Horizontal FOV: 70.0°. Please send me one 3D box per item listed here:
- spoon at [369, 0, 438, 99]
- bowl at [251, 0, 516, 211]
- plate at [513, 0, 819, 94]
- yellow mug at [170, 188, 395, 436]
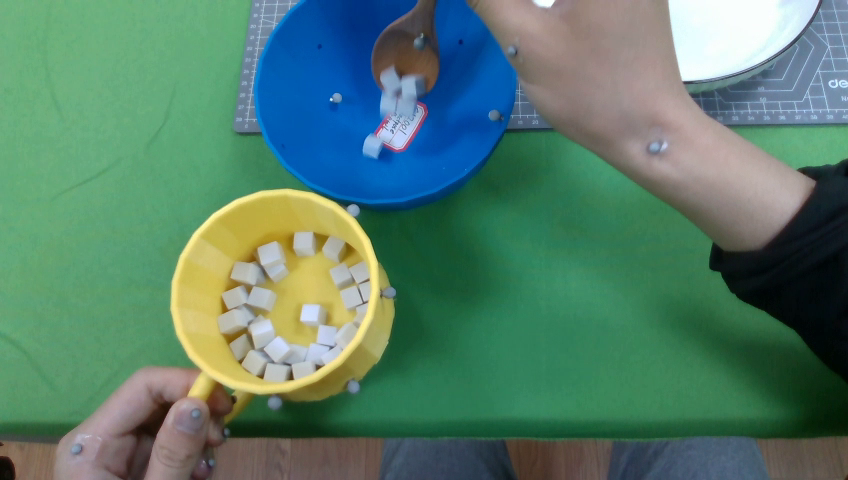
[{"bbox_3d":[0.005,-0.121,0.283,0.042,0.194,0.021,30,71,-5],"label":"spoon"},{"bbox_3d":[-0.020,-0.080,0.377,0.151,0.077,0.150,-1,74,4],"label":"bowl"},{"bbox_3d":[0.160,-0.187,0.421,0.209,0.038,0.207,-1,70,4],"label":"plate"},{"bbox_3d":[-0.077,0.043,0.312,0.099,0.064,0.130,31,78,13],"label":"yellow mug"}]
